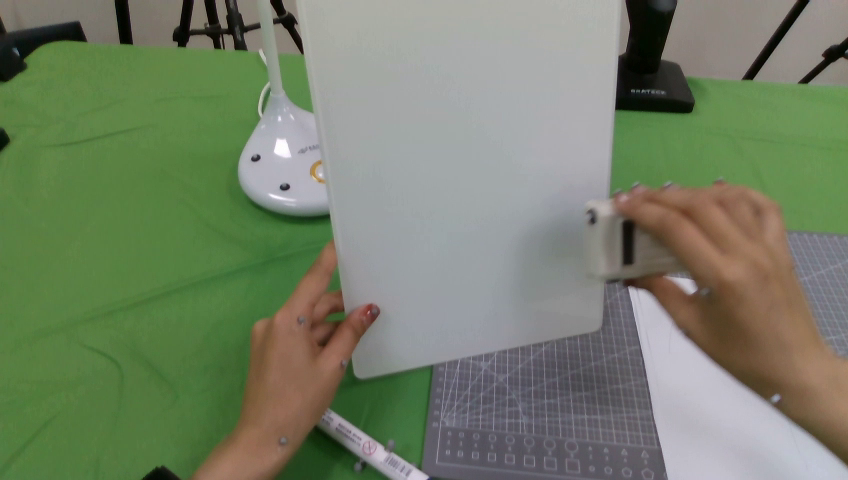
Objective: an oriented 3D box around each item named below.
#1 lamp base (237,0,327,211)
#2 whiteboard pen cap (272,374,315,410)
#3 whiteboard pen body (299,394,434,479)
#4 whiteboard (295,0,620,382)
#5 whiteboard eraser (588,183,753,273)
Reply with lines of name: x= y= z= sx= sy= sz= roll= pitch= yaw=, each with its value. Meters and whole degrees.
lamp base: x=-0.133 y=-0.148 z=0.627 sx=0.160 sy=0.182 sz=0.177 roll=-32 pitch=50 yaw=-29
whiteboard pen cap: x=-0.101 y=0.118 z=0.469 sx=0.033 sy=0.018 sz=0.018 roll=26 pitch=49 yaw=27
whiteboard pen body: x=-0.053 y=0.142 z=0.444 sx=0.140 sy=0.017 sz=0.017 roll=25 pitch=49 yaw=24
whiteboard: x=0.024 y=-0.069 z=0.500 sx=0.217 sy=0.307 sz=0.142 roll=-9 pitch=25 yaw=-9
whiteboard eraser: x=0.170 y=-0.009 z=0.425 sx=0.113 sy=0.056 sz=0.041 roll=-5 pitch=15 yaw=-9
